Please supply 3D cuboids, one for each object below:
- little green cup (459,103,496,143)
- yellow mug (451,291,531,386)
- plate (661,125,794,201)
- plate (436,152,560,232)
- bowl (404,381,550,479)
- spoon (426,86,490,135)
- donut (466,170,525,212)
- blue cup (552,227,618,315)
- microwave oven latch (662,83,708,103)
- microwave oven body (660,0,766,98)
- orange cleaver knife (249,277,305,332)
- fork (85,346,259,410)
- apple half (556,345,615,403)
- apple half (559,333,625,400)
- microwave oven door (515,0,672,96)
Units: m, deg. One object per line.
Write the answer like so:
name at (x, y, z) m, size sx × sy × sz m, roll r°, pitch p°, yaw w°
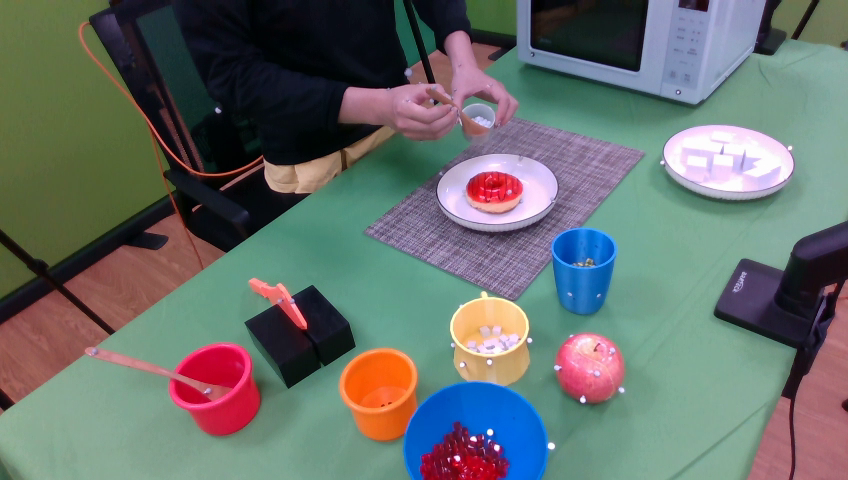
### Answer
little green cup at (0.090, -0.196, 1.023) m, size 0.061 × 0.039 × 0.061 m, roll -1°, pitch 63°, yaw 2°
yellow mug at (0.085, 0.120, 0.786) m, size 0.100 × 0.064 × 0.130 m, roll -7°, pitch 39°, yaw 1°
plate at (0.513, -0.128, 1.035) m, size 0.207 × 0.039 × 0.206 m, roll -4°, pitch 40°, yaw 4°
plate at (0.125, -0.078, 1.030) m, size 0.209 × 0.038 × 0.208 m, roll -4°, pitch 41°, yaw 4°
bowl at (0.058, 0.235, 0.645) m, size 0.151 × 0.077 × 0.150 m, roll -4°, pitch 39°, yaw 4°
spoon at (0.049, -0.192, 0.903) m, size 0.041 × 0.195 × 0.021 m, roll -1°, pitch 77°, yaw 28°
donut at (0.121, -0.083, 1.019) m, size 0.099 × 0.048 × 0.098 m, roll -5°, pitch 38°, yaw 4°
blue cup at (0.218, 0.047, 0.825) m, size 0.092 × 0.100 × 0.092 m, roll -6°, pitch 39°, yaw 5°
microwave oven latch at (0.517, -0.296, 1.204) m, size 0.078 × 0.029 × 0.030 m, roll 27°, pitch 52°, yaw 35°
microwave oven body at (0.472, -0.513, 1.317) m, size 0.438 × 0.261 × 0.327 m, roll 26°, pitch 51°, yaw 34°
orange cleaver knife at (-0.210, 0.088, 0.855) m, size 0.012 × 0.077 × 0.210 m, roll -28°, pitch 15°, yaw -25°
fork at (-0.298, 0.166, 0.728) m, size 0.209 × 0.018 × 0.028 m, roll 28°, pitch 47°, yaw -24°
apple half at (0.181, 0.167, 0.709) m, size 0.080 × 0.081 × 0.033 m, roll 29°, pitch 50°, yaw 35°
apple half at (0.209, 0.147, 0.730) m, size 0.080 × 0.075 × 0.053 m, roll 26°, pitch 48°, yaw 38°
microwave oven door at (0.344, -0.455, 1.260) m, size 0.353 × 0.245 × 0.039 m, roll 26°, pitch 51°, yaw 33°
